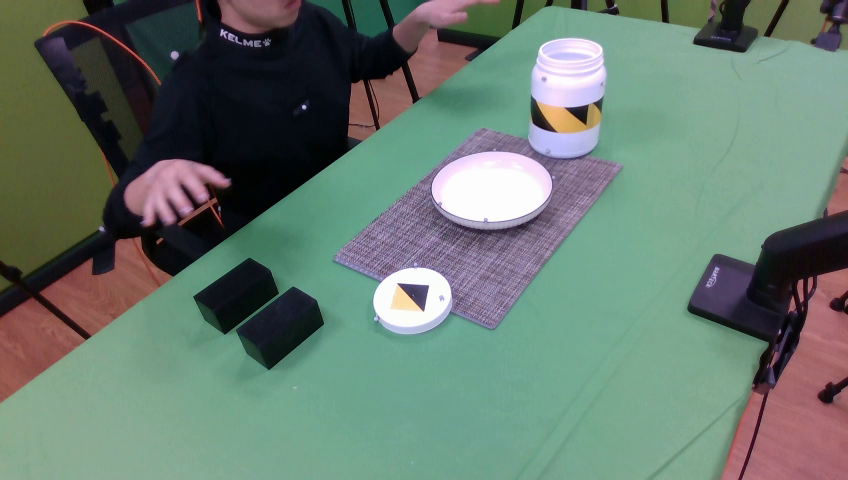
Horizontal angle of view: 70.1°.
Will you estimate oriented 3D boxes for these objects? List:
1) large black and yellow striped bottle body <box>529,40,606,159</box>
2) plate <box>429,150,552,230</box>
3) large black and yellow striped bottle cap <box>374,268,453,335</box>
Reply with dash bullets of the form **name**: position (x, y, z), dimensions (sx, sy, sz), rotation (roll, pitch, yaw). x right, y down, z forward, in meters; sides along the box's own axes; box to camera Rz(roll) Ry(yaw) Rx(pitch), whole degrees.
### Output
- **large black and yellow striped bottle body**: position (0.259, -0.257, 1.103), dimensions (0.131, 0.185, 0.130), rotation (-3, 38, 3)
- **plate**: position (0.113, -0.082, 1.032), dimensions (0.207, 0.039, 0.206), rotation (-4, 41, 4)
- **large black and yellow striped bottle cap**: position (-0.015, 0.087, 0.871), dimensions (0.115, 0.019, 0.114), rotation (-6, 43, 6)
